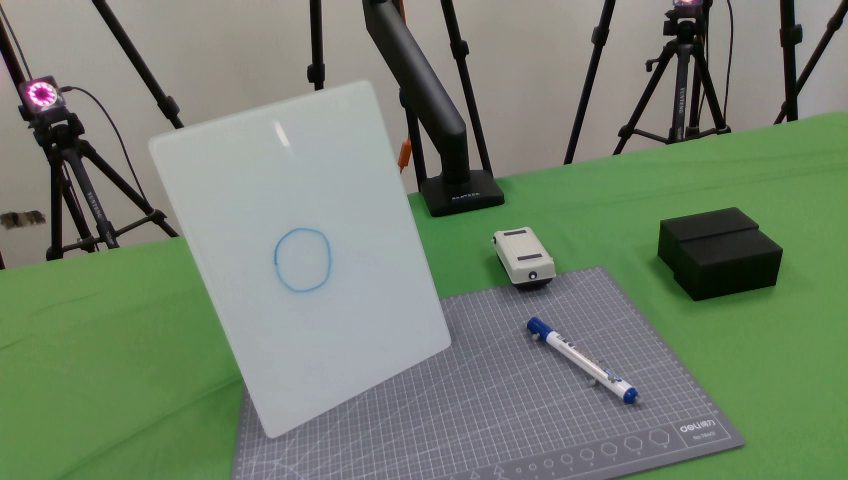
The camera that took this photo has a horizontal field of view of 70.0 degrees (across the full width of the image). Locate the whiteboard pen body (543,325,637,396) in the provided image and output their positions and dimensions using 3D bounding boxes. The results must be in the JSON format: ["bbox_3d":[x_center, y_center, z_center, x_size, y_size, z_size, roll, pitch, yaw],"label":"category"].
[{"bbox_3d":[0.161,0.116,0.624,0.017,0.017,0.139,-23,34,-24],"label":"whiteboard pen body"}]

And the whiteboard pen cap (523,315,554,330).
[{"bbox_3d":[0.127,0.091,0.669,0.033,0.018,0.018,0,32,15],"label":"whiteboard pen cap"}]

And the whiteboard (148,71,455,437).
[{"bbox_3d":[-0.129,0.006,0.652,0.217,0.307,0.143,-23,15,-23],"label":"whiteboard"}]

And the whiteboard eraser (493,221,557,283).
[{"bbox_3d":[0.127,0.015,0.778,0.055,0.042,0.111,-12,28,-3],"label":"whiteboard eraser"}]
